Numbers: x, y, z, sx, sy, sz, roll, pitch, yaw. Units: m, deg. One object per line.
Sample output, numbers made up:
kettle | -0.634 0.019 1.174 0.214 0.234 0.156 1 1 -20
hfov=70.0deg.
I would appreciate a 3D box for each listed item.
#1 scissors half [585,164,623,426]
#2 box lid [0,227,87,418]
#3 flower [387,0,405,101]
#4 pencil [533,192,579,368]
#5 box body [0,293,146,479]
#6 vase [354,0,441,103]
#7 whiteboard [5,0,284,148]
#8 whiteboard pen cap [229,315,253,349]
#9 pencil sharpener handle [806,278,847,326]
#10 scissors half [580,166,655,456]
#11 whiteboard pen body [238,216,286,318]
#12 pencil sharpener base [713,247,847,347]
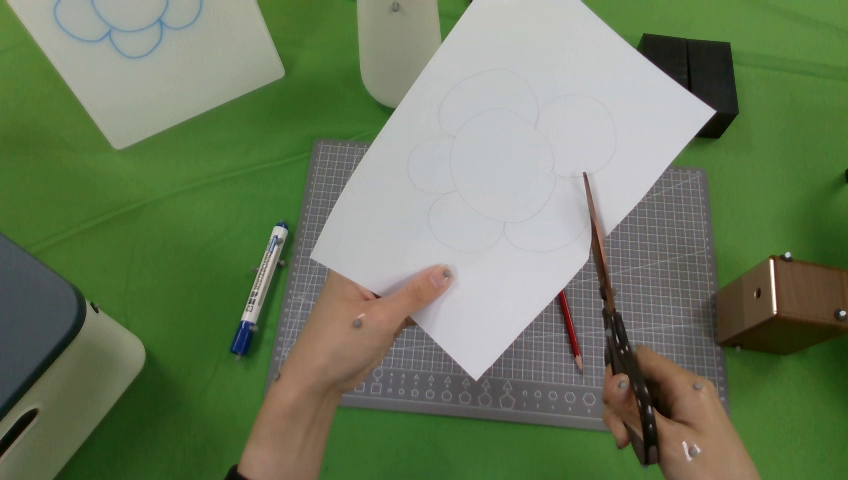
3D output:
scissors half | 0.115 0.038 0.381 0.013 0.040 0.176 -10 108 7
box lid | -0.475 0.054 0.462 0.370 0.015 0.262 30 70 11
flower | -0.037 -0.283 0.575 0.044 0.365 0.038 -2 50 3
pencil | 0.138 0.038 0.633 0.012 0.012 0.192 -8 70 -3
box body | -0.473 0.085 0.531 0.362 0.161 0.253 30 71 12
vase | -0.030 -0.238 0.646 0.098 0.201 0.097 0 66 1
whiteboard | -0.320 -0.295 0.644 0.217 0.308 0.142 -28 51 -11
whiteboard pen cap | -0.181 0.091 0.604 0.018 0.018 0.033 11 63 5
pencil sharpener handle | 0.386 0.062 0.561 0.030 0.068 0.035 9 61 1
scissors half | 0.113 0.040 0.359 0.013 0.040 0.174 -11 81 2
whiteboard pen body | -0.170 0.038 0.628 0.017 0.017 0.140 11 66 5
pencil sharpener base | 0.335 0.058 0.573 0.077 0.107 0.061 9 67 0
